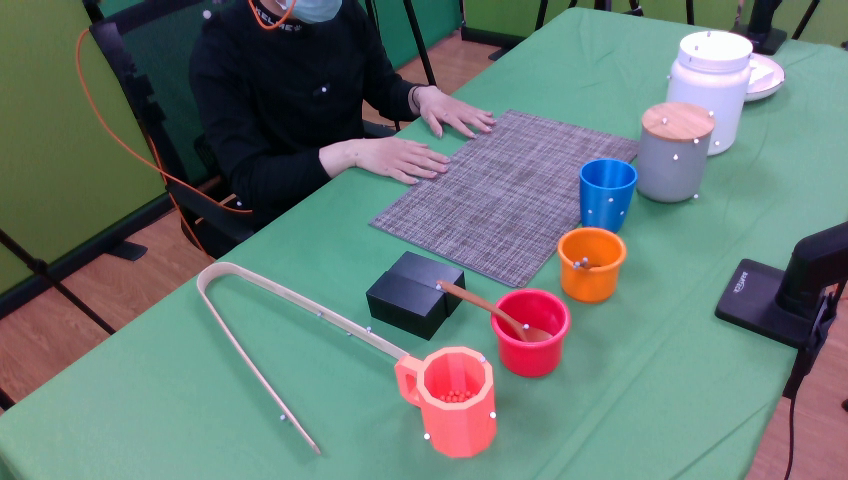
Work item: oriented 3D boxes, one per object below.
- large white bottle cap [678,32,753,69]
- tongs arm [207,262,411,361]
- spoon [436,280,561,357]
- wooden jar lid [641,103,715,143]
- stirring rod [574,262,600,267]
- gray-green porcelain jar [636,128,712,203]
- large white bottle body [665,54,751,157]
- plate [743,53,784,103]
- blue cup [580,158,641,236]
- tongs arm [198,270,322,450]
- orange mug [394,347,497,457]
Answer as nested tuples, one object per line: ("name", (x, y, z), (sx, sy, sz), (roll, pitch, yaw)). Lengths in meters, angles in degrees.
("large white bottle cap", (0.491, -0.321, 1.021), (0.115, 0.018, 0.114), (-4, 41, 4))
("tongs arm", (-0.179, 0.106, 0.870), (0.381, 0.026, 0.051), (23, 52, 32))
("spoon", (0.096, 0.095, 0.757), (0.195, 0.021, 0.041), (34, 40, -20))
("wooden jar lid", (0.398, -0.180, 0.952), (0.108, 0.021, 0.108), (-4, 43, 4))
("stirring rod", (0.222, 0.033, 0.816), (0.014, 0.006, 0.177), (8, 1, 22))
("gray-green porcelain jar", (0.405, -0.133, 0.992), (0.106, 0.127, 0.105), (-4, 40, 4))
("large white bottle body", (0.500, -0.257, 1.076), (0.130, 0.185, 0.130), (-4, 41, 4))
("plate", (0.631, -0.336, 1.262), (0.207, 0.039, 0.206), (-4, 41, 4))
("blue cup", (0.284, -0.063, 0.947), (0.092, 0.100, 0.092), (-3, 39, 3))
("tongs arm", (-0.236, 0.150, 0.828), (0.028, 0.028, 0.384), (-35, 46, -20))
("orange mug", (0.024, 0.181, 0.703), (0.125, 0.101, 0.083), (20, 48, 23))
